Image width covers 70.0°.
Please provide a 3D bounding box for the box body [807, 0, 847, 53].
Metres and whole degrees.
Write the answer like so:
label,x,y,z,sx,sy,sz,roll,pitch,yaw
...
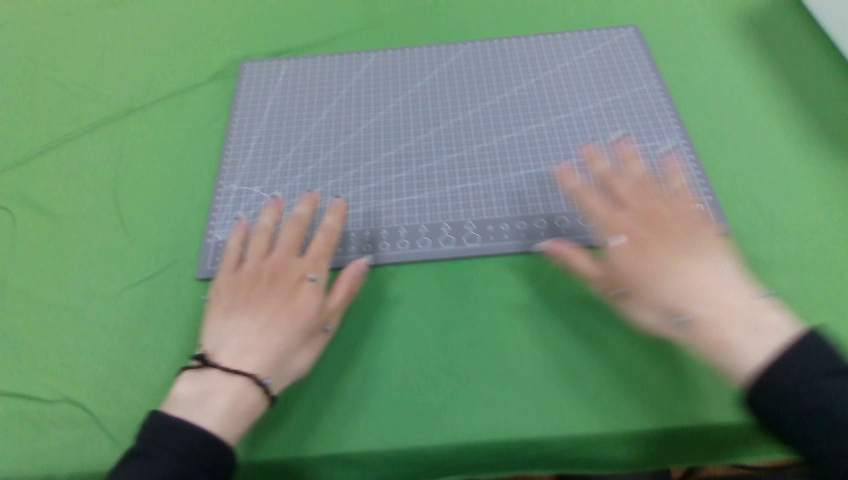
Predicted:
label,x,y,z,sx,sy,sz,roll,pitch,yaw
box body,0.541,-0.226,0.540,0.254,0.162,0.360,-5,53,1
